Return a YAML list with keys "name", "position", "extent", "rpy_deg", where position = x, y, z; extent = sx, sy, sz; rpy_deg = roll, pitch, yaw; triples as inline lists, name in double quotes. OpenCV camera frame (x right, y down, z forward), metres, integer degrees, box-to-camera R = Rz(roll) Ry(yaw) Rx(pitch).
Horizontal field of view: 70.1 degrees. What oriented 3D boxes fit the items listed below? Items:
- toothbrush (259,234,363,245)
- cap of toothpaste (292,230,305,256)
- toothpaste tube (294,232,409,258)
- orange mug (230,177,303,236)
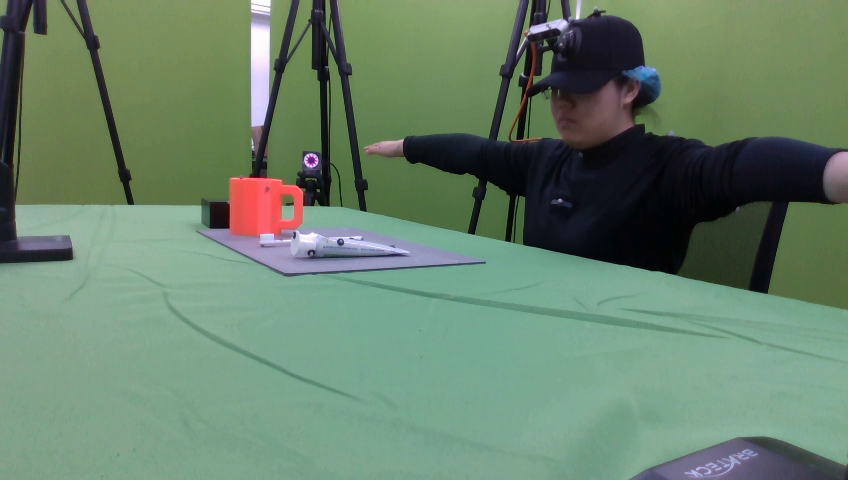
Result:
- name: "toothbrush"
  position: [-0.175, -0.002, 0.958]
  extent: [0.183, 0.016, 0.014]
  rpy_deg: [-1, -5, -39]
- name: "cap of toothpaste"
  position: [-0.169, 0.005, 0.812]
  extent: [0.011, 0.037, 0.037]
  rpy_deg: [6, 4, -30]
- name: "toothpaste tube"
  position: [-0.103, 0.010, 0.853]
  extent: [0.166, 0.034, 0.055]
  rpy_deg: [3, 11, -34]
- name: "orange mug"
  position: [-0.275, -0.060, 1.058]
  extent: [0.126, 0.101, 0.083]
  rpy_deg: [-2, 8, -5]
